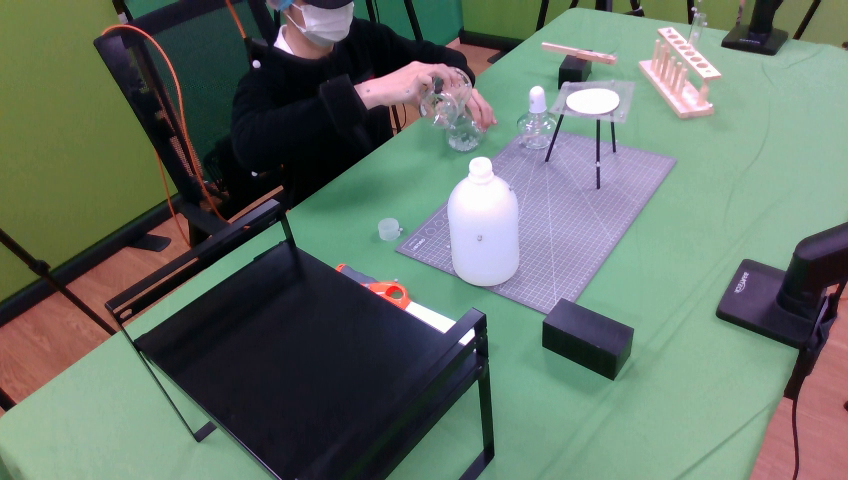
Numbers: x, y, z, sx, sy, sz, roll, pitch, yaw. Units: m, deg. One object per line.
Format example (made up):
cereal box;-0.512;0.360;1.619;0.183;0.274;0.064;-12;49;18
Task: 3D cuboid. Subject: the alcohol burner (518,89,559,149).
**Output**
alcohol burner;0.218;-0.235;1.149;0.078;0.119;0.077;-5;43;5

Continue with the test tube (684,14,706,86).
test tube;0.540;-0.378;1.215;0.017;0.151;0.017;-2;44;3

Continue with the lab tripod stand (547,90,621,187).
lab tripod stand;0.289;-0.184;1.062;0.148;0.132;0.147;-6;41;6

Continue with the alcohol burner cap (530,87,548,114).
alcohol burner cap;0.212;-0.262;1.126;0.034;0.048;0.033;-9;36;7

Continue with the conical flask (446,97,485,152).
conical flask;0.071;-0.225;1.149;0.075;0.122;0.075;-4;71;13

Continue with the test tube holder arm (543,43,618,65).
test tube holder arm;0.344;-0.413;1.340;0.177;0.015;0.013;25;49;31

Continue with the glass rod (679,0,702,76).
glass rod;0.543;-0.417;1.233;0.008;0.200;0.008;1;39;0

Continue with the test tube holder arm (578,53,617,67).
test tube holder arm;0.376;-0.393;1.314;0.087;0.015;0.010;25;50;32

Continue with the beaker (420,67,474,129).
beaker;0.039;-0.239;1.037;0.073;0.084;0.100;3;36;19

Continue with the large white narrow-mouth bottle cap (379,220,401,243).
large white narrow-mouth bottle cap;-0.057;-0.015;1.011;0.038;0.024;0.037;-4;40;4

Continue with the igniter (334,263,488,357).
igniter;-0.030;0.095;0.872;0.274;0.025;0.057;23;60;31

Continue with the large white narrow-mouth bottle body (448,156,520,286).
large white narrow-mouth bottle body;0.086;-0.032;0.869;0.102;0.195;0.101;-4;40;4

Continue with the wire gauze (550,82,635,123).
wire gauze;0.285;-0.236;1.020;0.124;0.011;0.121;10;44;22

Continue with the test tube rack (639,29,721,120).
test tube rack;0.527;-0.351;1.262;0.067;0.085;0.241;-8;40;1
